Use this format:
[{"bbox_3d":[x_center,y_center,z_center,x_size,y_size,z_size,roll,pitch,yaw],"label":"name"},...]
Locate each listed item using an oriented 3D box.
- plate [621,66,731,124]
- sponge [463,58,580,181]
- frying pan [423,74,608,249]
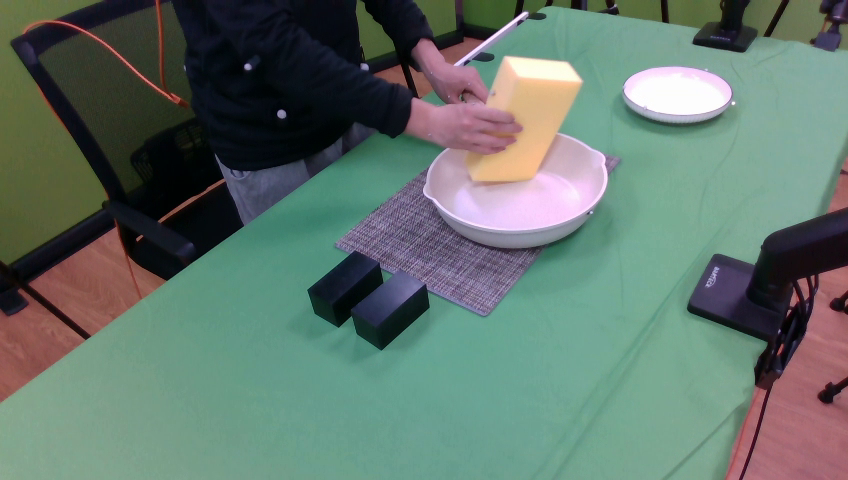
[{"bbox_3d":[0.503,-0.288,1.221,0.207,0.039,0.206,-4,41,4],"label":"plate"},{"bbox_3d":[0.156,-0.193,1.005,0.119,0.207,0.060,-2,48,-23],"label":"sponge"},{"bbox_3d":[0.129,-0.160,1.069,0.307,0.103,0.484,-11,49,-6],"label":"frying pan"}]
